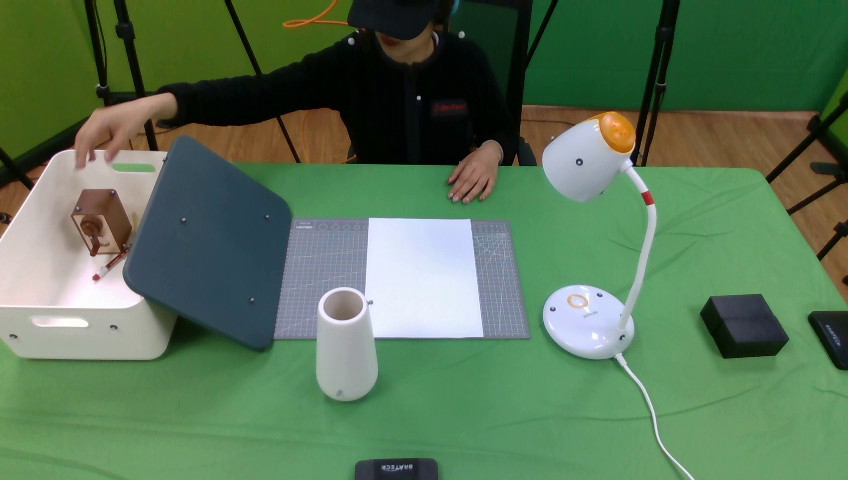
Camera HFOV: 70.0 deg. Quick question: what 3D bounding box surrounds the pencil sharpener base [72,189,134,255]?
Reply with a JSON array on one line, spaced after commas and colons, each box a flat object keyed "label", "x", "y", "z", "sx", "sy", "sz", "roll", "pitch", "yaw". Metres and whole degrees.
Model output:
[{"label": "pencil sharpener base", "x": -0.590, "y": -0.031, "z": 1.117, "sx": 0.061, "sy": 0.107, "sz": 0.076, "roll": -1, "pitch": 46, "yaw": -3}]

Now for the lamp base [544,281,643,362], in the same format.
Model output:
[{"label": "lamp base", "x": 0.303, "y": 0.095, "z": 1.014, "sx": 0.161, "sy": 0.181, "sz": 0.178, "roll": -24, "pitch": 54, "yaw": -24}]

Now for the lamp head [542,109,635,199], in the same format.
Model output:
[{"label": "lamp head", "x": 0.253, "y": -0.131, "z": 0.893, "sx": 0.113, "sy": 0.123, "sz": 0.112, "roll": 10, "pitch": 66, "yaw": -24}]

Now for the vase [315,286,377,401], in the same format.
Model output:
[{"label": "vase", "x": -0.119, "y": 0.159, "z": 0.911, "sx": 0.098, "sy": 0.201, "sz": 0.097, "roll": 2, "pitch": 47, "yaw": -2}]

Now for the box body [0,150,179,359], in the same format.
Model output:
[{"label": "box body", "x": -0.541, "y": 0.021, "z": 1.042, "sx": 0.254, "sy": 0.161, "sz": 0.361, "roll": 1, "pitch": 46, "yaw": -3}]

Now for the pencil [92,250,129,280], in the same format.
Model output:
[{"label": "pencil", "x": -0.549, "y": 0.015, "z": 1.152, "sx": 0.012, "sy": 0.012, "sz": 0.193, "roll": 22, "pitch": 43, "yaw": 17}]

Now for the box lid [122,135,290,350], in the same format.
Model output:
[{"label": "box lid", "x": -0.355, "y": -0.006, "z": 1.059, "sx": 0.015, "sy": 0.265, "sz": 0.369, "roll": -33, "pitch": 39, "yaw": 27}]

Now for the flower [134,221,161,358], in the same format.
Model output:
[{"label": "flower", "x": -0.508, "y": 0.072, "z": 1.093, "sx": 0.044, "sy": 0.038, "sz": 0.359, "roll": -40, "pitch": 45, "yaw": 8}]

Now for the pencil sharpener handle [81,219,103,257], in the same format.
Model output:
[{"label": "pencil sharpener handle", "x": -0.588, "y": -0.003, "z": 1.072, "sx": 0.036, "sy": 0.068, "sz": 0.030, "roll": 1, "pitch": 45, "yaw": -5}]
